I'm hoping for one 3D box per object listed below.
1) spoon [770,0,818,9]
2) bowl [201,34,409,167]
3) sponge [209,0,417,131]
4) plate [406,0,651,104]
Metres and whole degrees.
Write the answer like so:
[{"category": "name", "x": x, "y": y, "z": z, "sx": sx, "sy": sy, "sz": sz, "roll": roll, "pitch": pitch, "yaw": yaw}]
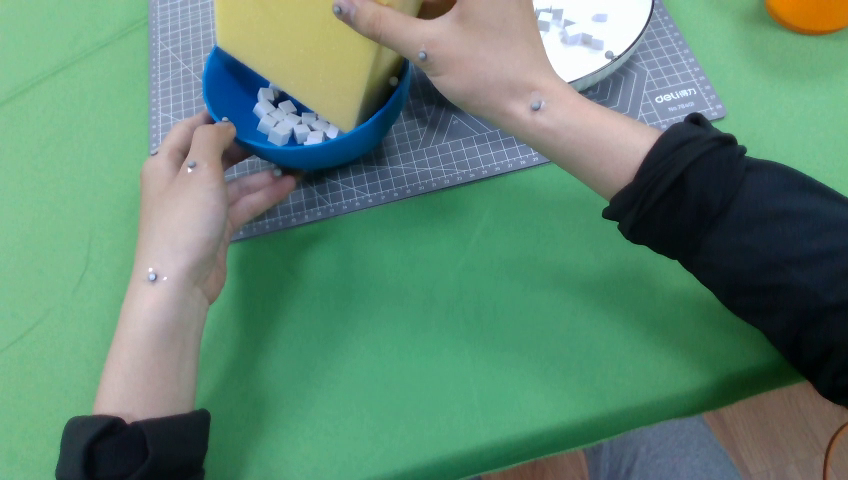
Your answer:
[{"category": "spoon", "x": 0.348, "y": -0.244, "z": 0.442, "sx": 0.022, "sy": 0.194, "sz": 0.041, "roll": 4, "pitch": 57, "yaw": -42}, {"category": "bowl", "x": -0.079, "y": -0.109, "z": 0.461, "sx": 0.151, "sy": 0.077, "sz": 0.150, "roll": -3, "pitch": 63, "yaw": 7}, {"category": "sponge", "x": -0.061, "y": -0.170, "z": 0.358, "sx": 0.118, "sy": 0.207, "sz": 0.060, "roll": 32, "pitch": 60, "yaw": 0}, {"category": "plate", "x": 0.079, "y": -0.193, "z": 0.508, "sx": 0.209, "sy": 0.038, "sz": 0.207, "roll": -3, "pitch": 63, "yaw": 6}]
